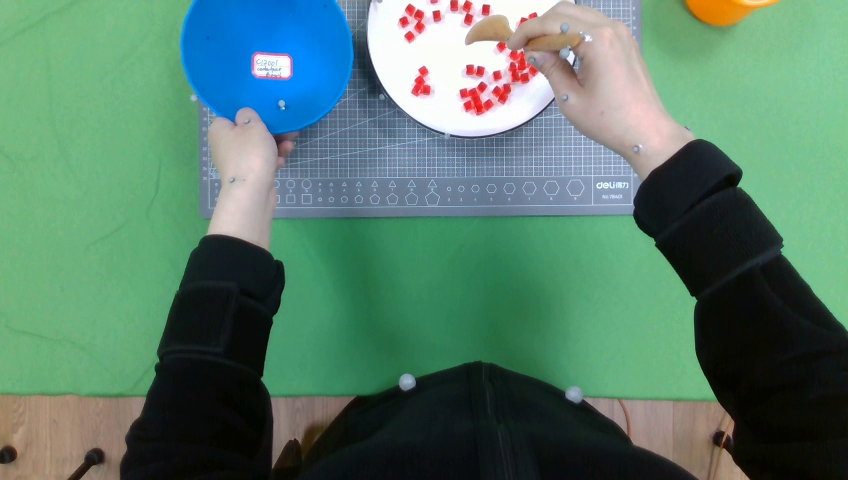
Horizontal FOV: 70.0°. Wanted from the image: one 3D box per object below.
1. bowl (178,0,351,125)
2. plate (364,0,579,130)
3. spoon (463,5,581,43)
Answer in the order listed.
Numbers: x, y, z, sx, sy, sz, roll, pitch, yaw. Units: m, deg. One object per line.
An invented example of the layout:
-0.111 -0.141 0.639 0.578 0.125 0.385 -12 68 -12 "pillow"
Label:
-0.144 -0.178 0.572 0.152 0.076 0.151 0 92 -8 "bowl"
0.046 -0.211 0.598 0.209 0.038 0.209 0 90 0 "plate"
0.074 -0.165 0.469 0.041 0.192 0.022 -33 120 -2 "spoon"
